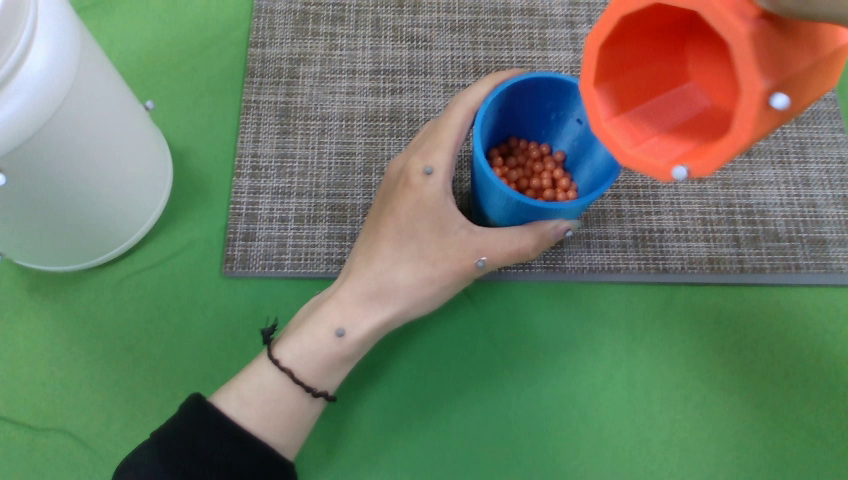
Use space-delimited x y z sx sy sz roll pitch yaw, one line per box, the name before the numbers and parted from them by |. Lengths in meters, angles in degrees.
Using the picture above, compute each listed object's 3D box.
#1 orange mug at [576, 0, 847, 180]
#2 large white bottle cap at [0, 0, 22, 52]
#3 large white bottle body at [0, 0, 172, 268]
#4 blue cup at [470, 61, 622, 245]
orange mug | 0.141 -0.093 0.273 0.101 0.127 0.083 -30 75 -28
large white bottle cap | -0.235 -0.102 0.258 0.115 0.018 0.114 1 69 -2
large white bottle body | -0.236 -0.071 0.337 0.131 0.185 0.129 1 70 -2
blue cup | 0.066 -0.041 0.376 0.093 0.101 0.092 1 70 -3
